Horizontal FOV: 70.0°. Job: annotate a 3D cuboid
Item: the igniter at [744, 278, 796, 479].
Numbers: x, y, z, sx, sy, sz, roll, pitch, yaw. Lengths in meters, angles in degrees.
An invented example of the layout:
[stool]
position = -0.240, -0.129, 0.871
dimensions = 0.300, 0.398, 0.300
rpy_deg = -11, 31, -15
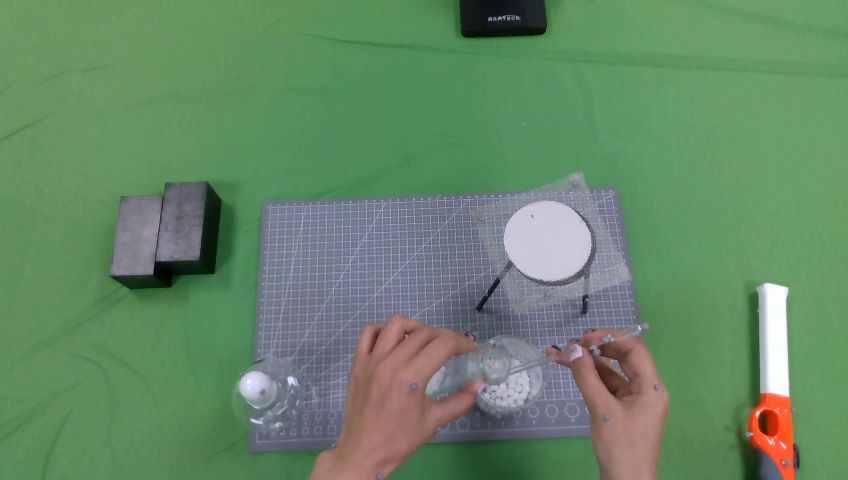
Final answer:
[igniter]
position = 0.380, 0.176, 0.668
dimensions = 0.057, 0.025, 0.275
rpy_deg = 13, 70, -6

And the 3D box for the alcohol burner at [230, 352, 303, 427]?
[alcohol burner]
position = -0.167, 0.153, 0.629
dimensions = 0.078, 0.120, 0.077
rpy_deg = 0, 71, -1

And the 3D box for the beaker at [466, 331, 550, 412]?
[beaker]
position = 0.084, 0.142, 0.640
dimensions = 0.084, 0.101, 0.073
rpy_deg = -5, 70, -2

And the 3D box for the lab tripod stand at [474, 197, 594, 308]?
[lab tripod stand]
position = 0.124, 0.023, 0.665
dimensions = 0.148, 0.132, 0.147
rpy_deg = 0, 72, 1

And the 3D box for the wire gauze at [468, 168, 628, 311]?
[wire gauze]
position = 0.122, -0.002, 0.602
dimensions = 0.125, 0.011, 0.120
rpy_deg = -18, 73, -5

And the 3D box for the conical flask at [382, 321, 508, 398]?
[conical flask]
position = 0.022, 0.110, 0.561
dimensions = 0.076, 0.121, 0.075
rpy_deg = 9, 76, -38

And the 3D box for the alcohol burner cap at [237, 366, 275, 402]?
[alcohol burner cap]
position = -0.166, 0.139, 0.596
dimensions = 0.034, 0.048, 0.033
rpy_deg = 2, 68, -4

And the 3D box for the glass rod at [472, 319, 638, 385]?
[glass rod]
position = 0.110, 0.106, 0.552
dimensions = 0.008, 0.199, 0.008
rpy_deg = 21, 53, -32
